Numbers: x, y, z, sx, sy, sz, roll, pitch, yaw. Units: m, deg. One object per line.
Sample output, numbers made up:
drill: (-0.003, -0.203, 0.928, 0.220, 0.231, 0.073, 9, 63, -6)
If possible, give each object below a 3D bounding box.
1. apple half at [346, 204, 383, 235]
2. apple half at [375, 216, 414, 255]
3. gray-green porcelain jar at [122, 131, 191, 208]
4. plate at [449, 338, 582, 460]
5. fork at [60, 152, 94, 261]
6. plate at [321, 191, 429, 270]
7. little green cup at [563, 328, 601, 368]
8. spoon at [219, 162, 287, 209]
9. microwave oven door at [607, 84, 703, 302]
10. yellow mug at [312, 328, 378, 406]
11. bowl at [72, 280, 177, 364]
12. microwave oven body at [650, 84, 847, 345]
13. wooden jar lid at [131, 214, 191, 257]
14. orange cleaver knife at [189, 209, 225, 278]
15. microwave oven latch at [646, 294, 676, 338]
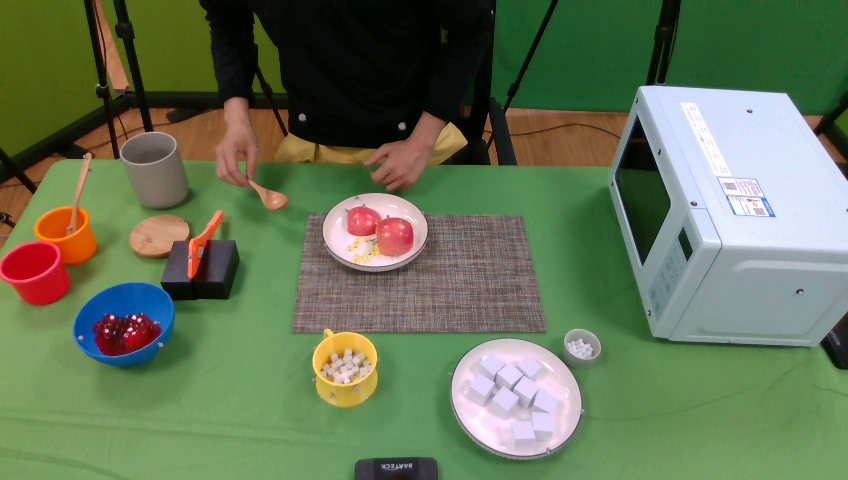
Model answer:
apple half: (-0.119, -0.049, 1.207, 0.081, 0.033, 0.081, 2, 50, -2)
apple half: (-0.056, -0.017, 1.169, 0.075, 0.053, 0.080, 0, 45, -7)
gray-green porcelain jar: (-0.531, -0.136, 1.213, 0.106, 0.127, 0.105, 2, 46, -2)
plate: (0.141, 0.251, 0.956, 0.208, 0.039, 0.206, 2, 46, -2)
fork: (-0.638, -0.063, 1.119, 0.028, 0.018, 0.207, 12, 90, 7)
plate: (-0.094, -0.015, 1.185, 0.209, 0.038, 0.208, 2, 46, -2)
little green cup: (0.266, 0.185, 1.025, 0.061, 0.039, 0.061, 1, 45, -1)
spoon: (-0.341, -0.113, 1.199, 0.193, 0.022, 0.041, 34, 67, 22)
microwave oven door: (0.423, -0.096, 1.138, 0.039, 0.245, 0.353, 3, 47, -1)
yellow mug: (-0.132, 0.193, 0.971, 0.100, 0.064, 0.130, -22, 51, -22)
bowl: (-0.473, 0.147, 0.982, 0.151, 0.077, 0.150, 2, 46, -2)
microwave oven body: (0.569, -0.054, 1.116, 0.326, 0.261, 0.439, 2, 46, -1)
wooden jar lid: (-0.504, -0.008, 1.167, 0.108, 0.021, 0.107, 3, 46, -3)
orange cleaver knife: (-0.401, 0.002, 1.122, 0.012, 0.077, 0.210, 3, 22, -4)
microwave oven latch: (0.412, 0.133, 1.061, 0.030, 0.029, 0.078, 4, 46, 1)
